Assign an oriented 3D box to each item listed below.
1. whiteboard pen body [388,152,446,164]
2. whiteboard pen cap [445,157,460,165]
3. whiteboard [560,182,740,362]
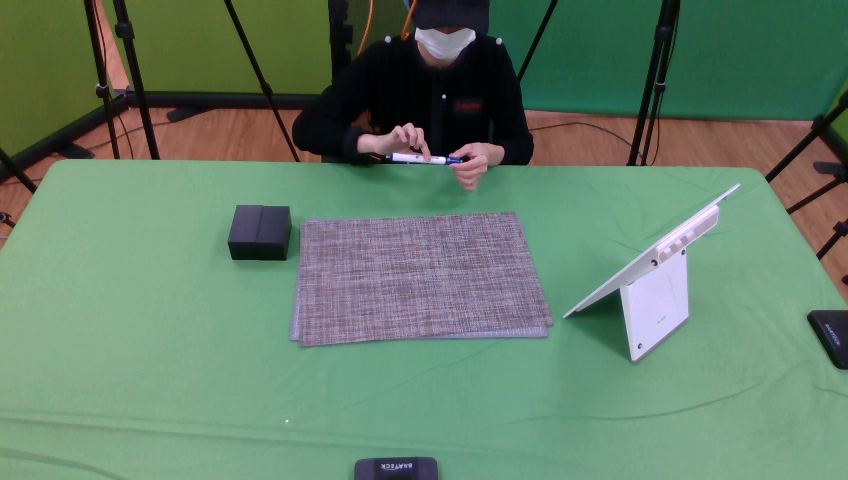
[{"bbox_3d":[-0.003,-0.166,1.237,0.141,0.017,0.017,3,46,-12],"label":"whiteboard pen body"},{"bbox_3d":[0.056,-0.164,1.251,0.033,0.018,0.018,3,46,-13],"label":"whiteboard pen cap"},{"bbox_3d":[0.406,0.075,1.001,0.217,0.306,0.143,-28,73,-28],"label":"whiteboard"}]
